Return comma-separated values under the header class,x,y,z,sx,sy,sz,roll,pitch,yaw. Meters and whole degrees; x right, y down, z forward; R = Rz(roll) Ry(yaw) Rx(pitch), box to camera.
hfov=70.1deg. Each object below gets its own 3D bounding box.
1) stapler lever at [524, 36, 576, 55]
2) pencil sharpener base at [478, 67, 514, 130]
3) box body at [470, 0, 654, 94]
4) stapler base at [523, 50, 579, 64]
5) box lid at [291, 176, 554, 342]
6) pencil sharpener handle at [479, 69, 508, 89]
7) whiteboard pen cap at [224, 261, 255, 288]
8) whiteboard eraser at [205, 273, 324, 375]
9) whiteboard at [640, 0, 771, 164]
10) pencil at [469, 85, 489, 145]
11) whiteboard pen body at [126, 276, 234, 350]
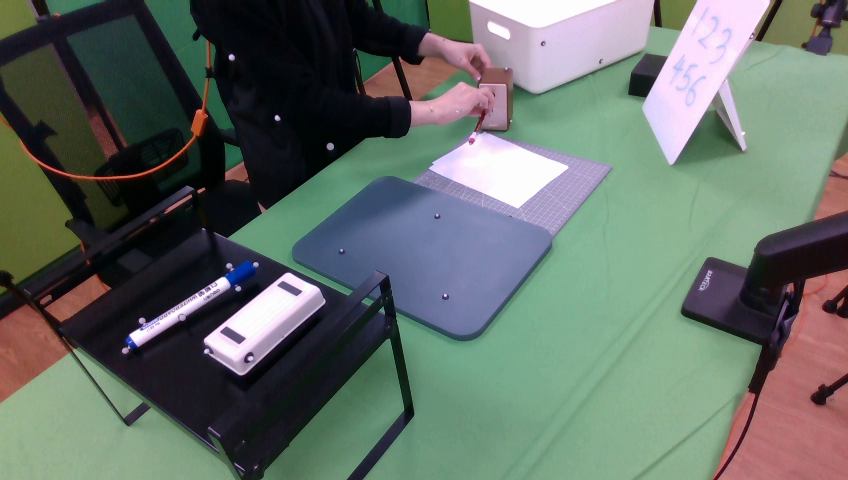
class,x,y,z,sx,sy,sz,roll,pitch,yaw
stapler lever,0.296,-0.456,1.418,0.117,0.040,0.027,4,40,17
pencil sharpener base,0.147,-0.286,1.225,0.061,0.107,0.076,5,41,14
box body,0.319,-0.498,1.405,0.365,0.161,0.252,-26,43,-21
stapler base,0.301,-0.436,1.434,0.130,0.024,0.041,5,40,17
box lid,-0.005,0.011,0.972,0.368,0.015,0.264,21,49,30
pencil sharpener handle,0.144,-0.336,1.252,0.067,0.036,0.030,-21,31,31
whiteboard pen cap,-0.207,0.039,0.677,0.033,0.018,0.018,-36,47,-18
whiteboard eraser,-0.157,0.084,0.605,0.055,0.042,0.113,24,49,30
whiteboard,0.543,-0.299,1.076,0.144,0.305,0.216,12,40,-7
pencil,0.105,-0.241,1.120,0.012,0.012,0.193,5,48,14
whiteboard pen body,-0.251,0.070,0.649,0.141,0.017,0.017,-36,48,-26
